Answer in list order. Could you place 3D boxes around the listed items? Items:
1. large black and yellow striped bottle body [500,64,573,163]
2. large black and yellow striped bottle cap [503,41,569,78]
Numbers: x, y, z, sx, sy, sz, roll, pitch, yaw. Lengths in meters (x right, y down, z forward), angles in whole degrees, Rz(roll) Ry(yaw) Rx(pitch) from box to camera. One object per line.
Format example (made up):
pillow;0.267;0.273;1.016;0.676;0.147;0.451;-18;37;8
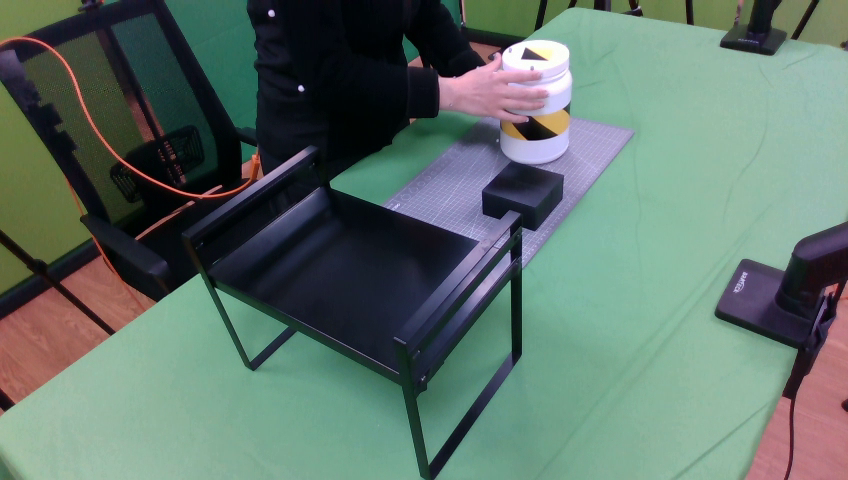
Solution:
large black and yellow striped bottle body;0.205;-0.249;1.106;0.131;0.185;0.130;-5;40;4
large black and yellow striped bottle cap;0.194;-0.315;1.051;0.115;0.019;0.114;-3;41;3
